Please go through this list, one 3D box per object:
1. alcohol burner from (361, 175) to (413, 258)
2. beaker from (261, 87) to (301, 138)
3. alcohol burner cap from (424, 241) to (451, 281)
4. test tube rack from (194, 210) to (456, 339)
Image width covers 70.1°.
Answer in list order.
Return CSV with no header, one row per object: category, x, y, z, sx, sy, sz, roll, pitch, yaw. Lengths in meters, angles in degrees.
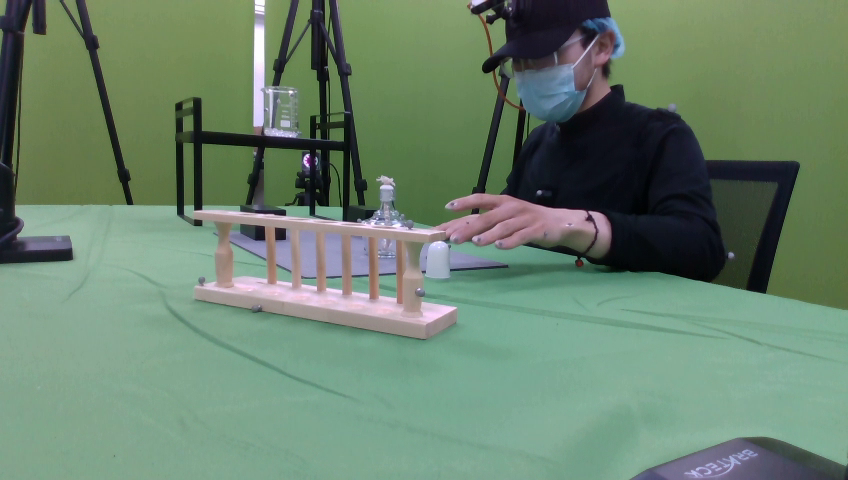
alcohol burner,-0.054,-0.033,0.871,0.078,0.119,0.078,1,9,0
beaker,-0.298,-0.263,1.255,0.084,0.100,0.073,-5,10,-40
alcohol burner cap,0.018,0.024,0.748,0.034,0.048,0.034,4,8,0
test tube rack,-0.093,0.023,0.545,0.241,0.085,0.067,6,8,25
